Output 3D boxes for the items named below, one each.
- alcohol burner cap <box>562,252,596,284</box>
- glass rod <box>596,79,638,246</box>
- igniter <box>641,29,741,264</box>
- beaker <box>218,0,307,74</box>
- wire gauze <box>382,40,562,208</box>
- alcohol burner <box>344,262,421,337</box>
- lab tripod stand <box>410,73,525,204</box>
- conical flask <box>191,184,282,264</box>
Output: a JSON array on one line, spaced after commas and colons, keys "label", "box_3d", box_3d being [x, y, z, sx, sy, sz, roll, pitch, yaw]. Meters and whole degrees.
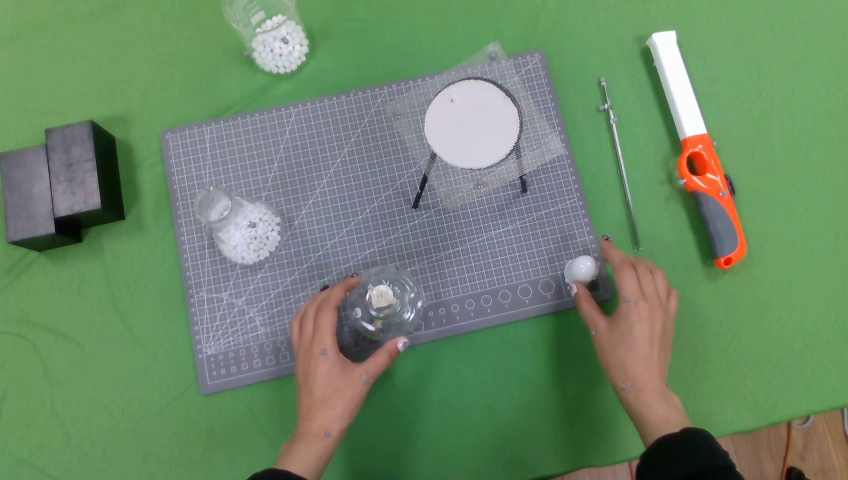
[{"label": "alcohol burner cap", "box_3d": [0.166, 0.027, 0.641, 0.034, 0.048, 0.033, -1, 79, 3]}, {"label": "glass rod", "box_3d": [0.216, -0.090, 0.683, 0.008, 0.008, 0.199, -8, 79, -2]}, {"label": "igniter", "box_3d": [0.298, -0.108, 0.677, 0.057, 0.025, 0.275, -11, 79, -13]}, {"label": "beaker", "box_3d": [-0.170, -0.236, 0.664, 0.074, 0.100, 0.084, 35, 81, 6]}, {"label": "wire gauze", "box_3d": [0.043, -0.106, 0.551, 0.125, 0.011, 0.121, -29, 81, -5]}, {"label": "alcohol burner", "box_3d": [-0.042, 0.057, 0.599, 0.078, 0.119, 0.077, 0, 78, -1]}, {"label": "lab tripod stand", "box_3d": [0.042, -0.096, 0.618, 0.148, 0.132, 0.148, 0, 81, 0]}, {"label": "conical flask", "box_3d": [-0.193, -0.021, 0.609, 0.075, 0.122, 0.075, 0, 79, 0]}]
